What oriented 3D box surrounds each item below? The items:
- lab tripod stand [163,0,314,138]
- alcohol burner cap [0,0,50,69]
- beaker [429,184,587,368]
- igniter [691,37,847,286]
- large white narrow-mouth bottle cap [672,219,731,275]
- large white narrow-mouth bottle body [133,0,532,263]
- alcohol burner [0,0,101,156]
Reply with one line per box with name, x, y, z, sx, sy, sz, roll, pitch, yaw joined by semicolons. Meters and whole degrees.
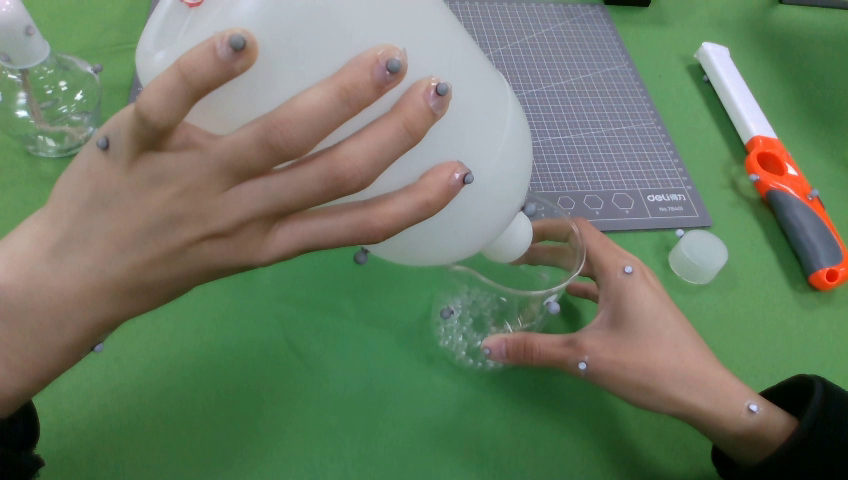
lab tripod stand;-0.138;-0.173;0.457;0.149;0.132;0.147;5;54;-6
alcohol burner cap;-0.265;-0.136;0.385;0.034;0.048;0.033;3;60;-5
beaker;0.041;0.027;0.362;0.084;0.101;0.073;-15;57;-20
igniter;0.290;-0.080;0.518;0.057;0.025;0.273;6;54;-17
large white narrow-mouth bottle cap;0.206;0.006;0.450;0.038;0.024;0.037;3;54;-4
large white narrow-mouth bottle body;-0.012;-0.046;0.265;0.101;0.197;0.101;-24;47;29
alcohol burner;-0.269;-0.116;0.415;0.078;0.120;0.077;5;52;-6
